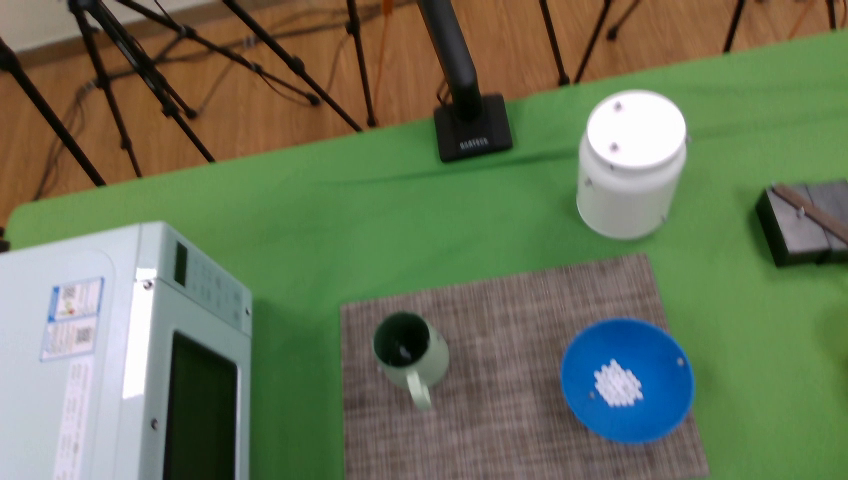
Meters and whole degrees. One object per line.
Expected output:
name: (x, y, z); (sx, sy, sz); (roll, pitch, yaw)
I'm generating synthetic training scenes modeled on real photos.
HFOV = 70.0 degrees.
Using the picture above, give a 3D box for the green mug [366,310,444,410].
green mug: (-0.021, 0.160, 0.792); (0.092, 0.106, 0.124); (-19, 62, 2)

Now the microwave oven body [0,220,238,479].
microwave oven body: (-0.422, 0.248, 0.748); (0.326, 0.262, 0.437); (-12, 64, 6)

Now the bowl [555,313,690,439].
bowl: (0.238, 0.173, 0.745); (0.151, 0.077, 0.150); (-5, 64, 11)

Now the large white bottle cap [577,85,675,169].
large white bottle cap: (0.246, -0.139, 0.740); (0.114, 0.018, 0.114); (-4, 64, 9)

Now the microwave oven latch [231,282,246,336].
microwave oven latch: (-0.282, 0.104, 0.897); (0.030, 0.030, 0.078); (-12, 64, 6)

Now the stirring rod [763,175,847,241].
stirring rod: (0.509, -0.026, 0.767); (0.174, 0.006, 0.014); (46, 115, 26)

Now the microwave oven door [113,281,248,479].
microwave oven door: (-0.275, 0.252, 0.709); (0.039, 0.246, 0.352); (-12, 63, 7)

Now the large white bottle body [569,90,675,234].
large white bottle body: (0.262, -0.102, 0.815); (0.130, 0.186, 0.129); (-5, 64, 10)
